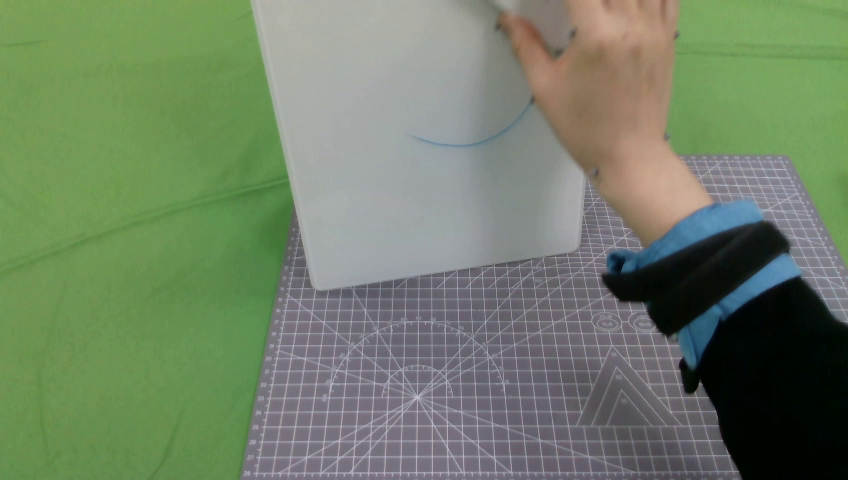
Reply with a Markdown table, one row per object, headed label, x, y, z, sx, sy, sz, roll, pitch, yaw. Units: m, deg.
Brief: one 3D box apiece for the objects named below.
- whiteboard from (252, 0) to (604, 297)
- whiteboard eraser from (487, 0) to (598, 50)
| label | x | y | z | sx | sy | sz | roll | pitch | yaw |
| --- | --- | --- | --- | --- | --- | --- | --- | --- | --- |
| whiteboard | 0.000 | -0.137 | 0.450 | 0.217 | 0.308 | 0.142 | -8 | 33 | -6 |
| whiteboard eraser | 0.063 | -0.153 | 0.364 | 0.102 | 0.041 | 0.018 | 27 | 23 | -25 |
